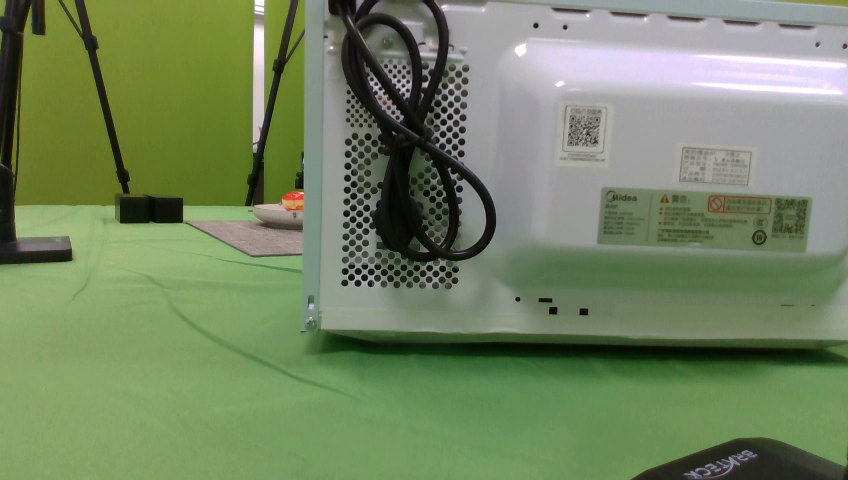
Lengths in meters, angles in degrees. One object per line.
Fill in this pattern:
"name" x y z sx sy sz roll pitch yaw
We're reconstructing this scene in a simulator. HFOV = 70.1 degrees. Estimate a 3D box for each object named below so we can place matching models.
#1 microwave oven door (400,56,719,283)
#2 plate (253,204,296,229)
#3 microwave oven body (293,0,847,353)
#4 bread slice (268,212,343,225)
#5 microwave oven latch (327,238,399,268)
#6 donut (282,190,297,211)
"microwave oven door" 0.155 -0.077 0.697 0.356 0.243 0.039 2 8 -5
"plate" -0.238 -0.047 1.226 0.208 0.039 0.207 3 7 0
"microwave oven body" 0.122 -0.055 0.550 0.442 0.260 0.325 3 7 -5
"bread slice" -0.244 -0.045 1.220 0.104 0.019 0.132 6 7 36
"microwave oven latch" -0.069 0.015 0.694 0.079 0.029 0.030 3 7 -3
"donut" -0.239 -0.077 1.232 0.099 0.048 0.099 2 4 0
